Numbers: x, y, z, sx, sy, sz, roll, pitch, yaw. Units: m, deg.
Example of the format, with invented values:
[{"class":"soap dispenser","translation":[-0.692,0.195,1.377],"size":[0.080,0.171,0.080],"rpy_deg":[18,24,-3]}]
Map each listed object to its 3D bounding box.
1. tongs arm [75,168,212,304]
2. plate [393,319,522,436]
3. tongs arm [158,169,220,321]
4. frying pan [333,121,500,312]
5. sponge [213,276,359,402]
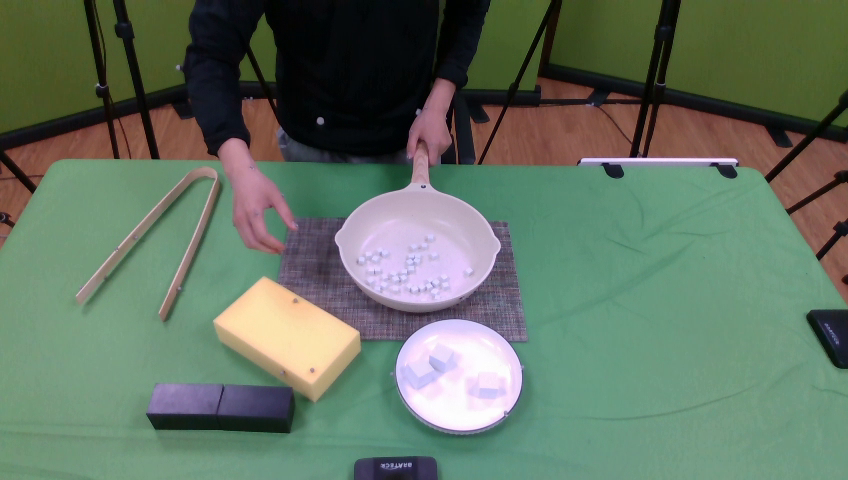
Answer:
[{"class":"tongs arm","translation":[-0.525,-0.021,1.167],"size":[0.051,0.026,0.383],"rpy_deg":[13,45,7]},{"class":"plate","translation":[0.053,0.222,0.979],"size":[0.208,0.039,0.206],"rpy_deg":[3,46,-2]},{"class":"tongs arm","translation":[-0.446,-0.005,1.164],"size":[0.028,0.028,0.385],"rpy_deg":[2,46,0]},{"class":"frying pan","translation":[-0.010,-0.063,1.195],"size":[0.307,0.103,0.485],"rpy_deg":[4,55,-2]},{"class":"sponge","translation":[-0.225,0.158,0.998],"size":[0.206,0.061,0.118],"rpy_deg":[27,52,18]}]
